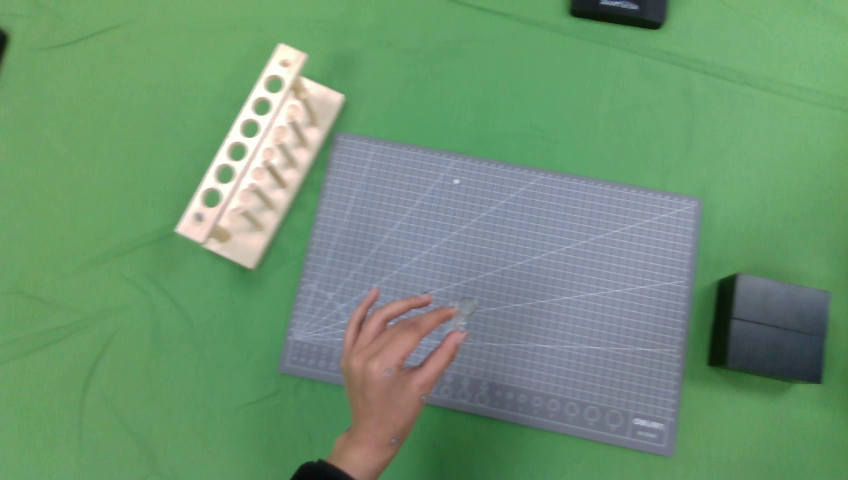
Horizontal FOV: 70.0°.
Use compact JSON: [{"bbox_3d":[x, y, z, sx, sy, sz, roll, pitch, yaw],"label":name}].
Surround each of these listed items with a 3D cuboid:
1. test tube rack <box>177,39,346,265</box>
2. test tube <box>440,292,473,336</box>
[{"bbox_3d":[-0.181,-0.099,0.702,0.066,0.085,0.241,25,80,6],"label":"test tube rack"},{"bbox_3d":[0.027,0.069,0.543,0.017,0.151,0.017,1,73,-3],"label":"test tube"}]
